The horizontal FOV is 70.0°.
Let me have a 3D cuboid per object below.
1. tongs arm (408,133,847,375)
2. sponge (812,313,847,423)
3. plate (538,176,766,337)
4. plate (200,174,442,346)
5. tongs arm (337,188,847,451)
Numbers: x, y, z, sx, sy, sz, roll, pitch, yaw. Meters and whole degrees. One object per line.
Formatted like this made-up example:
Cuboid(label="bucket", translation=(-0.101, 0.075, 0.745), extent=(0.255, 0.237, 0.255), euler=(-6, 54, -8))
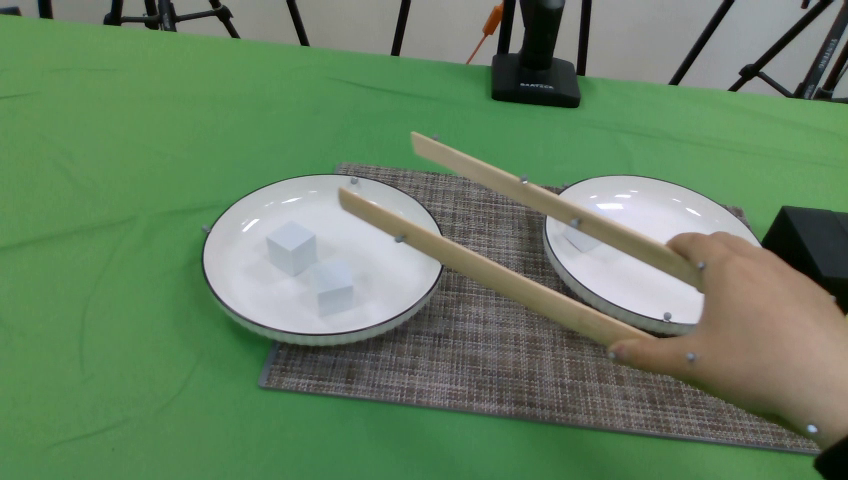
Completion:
Cuboid(label="tongs arm", translation=(0.122, 0.008, 0.428), extent=(0.381, 0.027, 0.050), euler=(28, 54, 28))
Cuboid(label="sponge", translation=(0.394, 0.153, 0.437), extent=(0.118, 0.061, 0.205), euler=(4, 43, -2))
Cuboid(label="plate", translation=(0.210, 0.015, 0.577), extent=(0.208, 0.039, 0.205), euler=(4, 42, -3))
Cuboid(label="plate", translation=(-0.087, 0.016, 0.539), extent=(0.209, 0.038, 0.207), euler=(4, 42, -3))
Cuboid(label="tongs arm", translation=(0.089, 0.038, 0.403), extent=(0.384, 0.028, 0.028), euler=(25, 49, 26))
